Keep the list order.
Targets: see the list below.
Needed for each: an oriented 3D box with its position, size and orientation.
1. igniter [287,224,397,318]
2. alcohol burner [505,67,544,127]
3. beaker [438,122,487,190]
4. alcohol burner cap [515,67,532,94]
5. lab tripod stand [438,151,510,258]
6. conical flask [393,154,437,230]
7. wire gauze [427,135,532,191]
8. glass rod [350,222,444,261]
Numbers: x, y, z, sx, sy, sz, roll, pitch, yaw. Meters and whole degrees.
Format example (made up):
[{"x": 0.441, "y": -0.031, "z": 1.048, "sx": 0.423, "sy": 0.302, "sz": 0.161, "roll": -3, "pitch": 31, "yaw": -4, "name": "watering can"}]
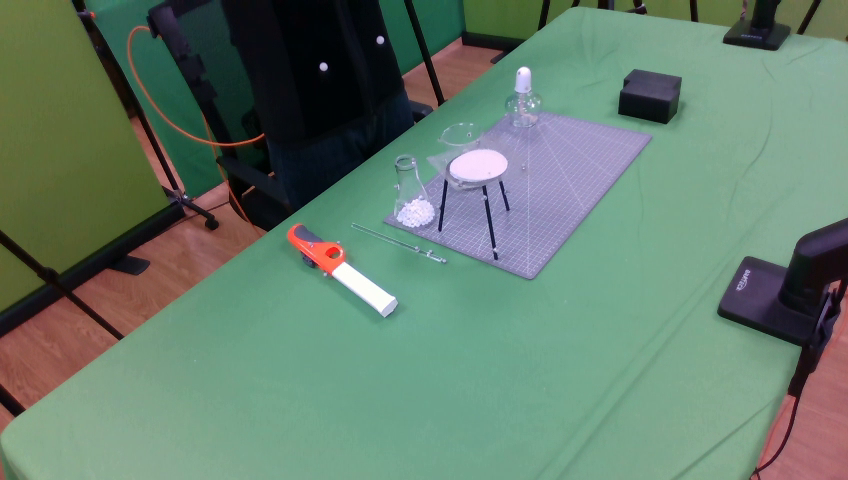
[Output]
[{"x": -0.139, "y": 0.042, "z": 0.958, "sx": 0.057, "sy": 0.025, "sz": 0.274, "roll": -42, "pitch": 49, "yaw": -19, "name": "igniter"}, {"x": 0.201, "y": -0.288, "z": 1.211, "sx": 0.078, "sy": 0.119, "sz": 0.077, "roll": -6, "pitch": 38, "yaw": 5, "name": "alcohol burner"}, {"x": 0.072, "y": -0.147, "z": 1.080, "sx": 0.084, "sy": 0.101, "sz": 0.073, "roll": -5, "pitch": 40, "yaw": 7, "name": "beaker"}, {"x": 0.197, "y": -0.315, "z": 1.187, "sx": 0.034, "sy": 0.048, "sz": 0.033, "roll": -3, "pitch": 46, "yaw": 4, "name": "alcohol burner cap"}, {"x": 0.087, "y": -0.064, "z": 0.952, "sx": 0.148, "sy": 0.132, "sz": 0.147, "roll": -6, "pitch": 38, "yaw": 5, "name": "lab tripod stand"}, {"x": -0.022, "y": -0.082, "z": 1.003, "sx": 0.075, "sy": 0.122, "sz": 0.075, "roll": -6, "pitch": 40, "yaw": 5, "name": "conical flask"}, {"x": 0.081, "y": -0.115, "z": 0.909, "sx": 0.125, "sy": 0.011, "sz": 0.120, "roll": -18, "pitch": 39, "yaw": -11, "name": "wire gauze"}, {"x": -0.048, "y": 0.001, "z": 1.003, "sx": 0.198, "sy": 0.008, "sz": 0.008, "roll": 21, "pitch": 49, "yaw": 31, "name": "glass rod"}]
